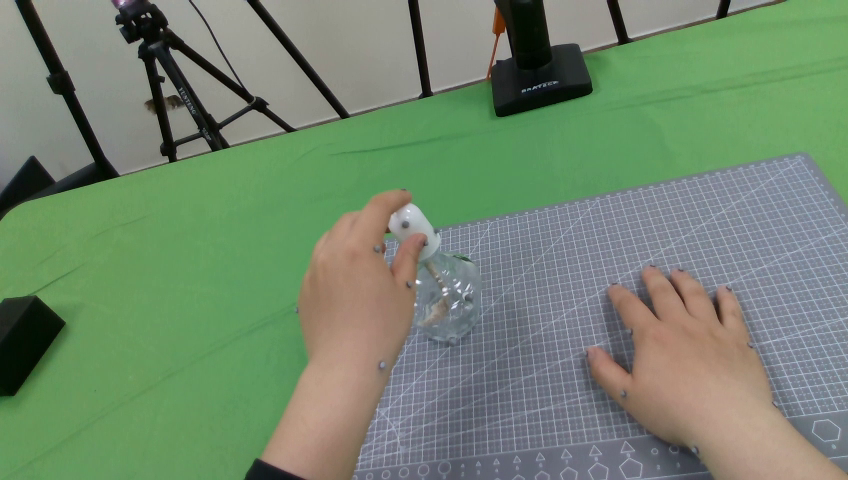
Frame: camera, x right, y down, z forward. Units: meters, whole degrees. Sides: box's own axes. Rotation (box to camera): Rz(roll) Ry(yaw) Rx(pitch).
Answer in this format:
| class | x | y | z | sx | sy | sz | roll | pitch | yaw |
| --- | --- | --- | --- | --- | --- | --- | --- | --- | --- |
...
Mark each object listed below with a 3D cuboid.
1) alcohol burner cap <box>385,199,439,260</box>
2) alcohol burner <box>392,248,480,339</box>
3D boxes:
| class | x | y | z | sx | sy | sz | roll | pitch | yaw |
| --- | --- | --- | --- | --- | --- | --- | --- | --- | --- |
| alcohol burner cap | -0.011 | -0.011 | 0.462 | 0.034 | 0.048 | 0.033 | -14 | 49 | 17 |
| alcohol burner | 0.006 | 0.028 | 0.504 | 0.078 | 0.120 | 0.077 | -11 | 43 | 11 |
